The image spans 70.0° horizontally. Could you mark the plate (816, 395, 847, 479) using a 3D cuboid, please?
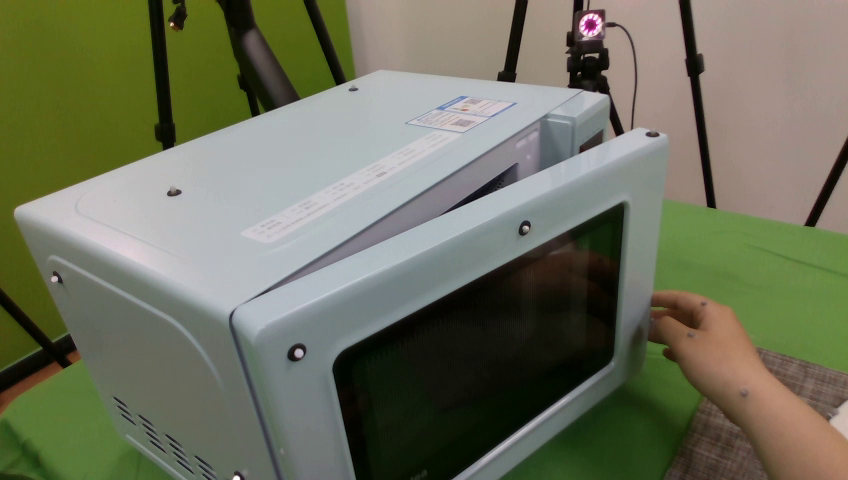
[{"bbox_3d":[0.403,0.189,0.440,0.209,0.038,0.207,-5,29,3],"label":"plate"}]

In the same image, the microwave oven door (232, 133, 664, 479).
[{"bbox_3d":[0.054,0.082,0.457,0.356,0.246,0.039,-25,34,-30],"label":"microwave oven door"}]

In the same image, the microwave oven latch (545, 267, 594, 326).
[{"bbox_3d":[0.165,0.063,0.683,0.030,0.030,0.079,18,37,35],"label":"microwave oven latch"}]

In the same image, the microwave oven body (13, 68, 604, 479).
[{"bbox_3d":[-0.069,0.023,0.598,0.323,0.262,0.441,17,37,34],"label":"microwave oven body"}]
